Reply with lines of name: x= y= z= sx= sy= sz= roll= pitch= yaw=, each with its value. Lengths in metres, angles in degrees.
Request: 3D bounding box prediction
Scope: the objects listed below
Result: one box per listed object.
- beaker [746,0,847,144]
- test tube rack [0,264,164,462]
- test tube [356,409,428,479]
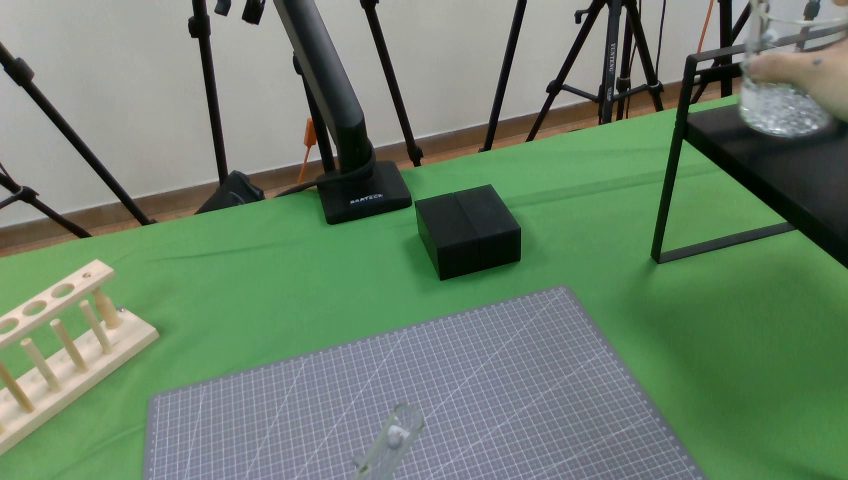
beaker: x=0.288 y=-0.132 z=0.461 sx=0.074 sy=0.101 sz=0.083 roll=-24 pitch=43 yaw=-7
test tube rack: x=-0.387 y=0.132 z=0.586 sx=0.066 sy=0.086 sz=0.242 roll=21 pitch=45 yaw=31
test tube: x=-0.038 y=0.138 z=0.295 sx=0.017 sy=0.151 sz=0.017 roll=24 pitch=25 yaw=-12
